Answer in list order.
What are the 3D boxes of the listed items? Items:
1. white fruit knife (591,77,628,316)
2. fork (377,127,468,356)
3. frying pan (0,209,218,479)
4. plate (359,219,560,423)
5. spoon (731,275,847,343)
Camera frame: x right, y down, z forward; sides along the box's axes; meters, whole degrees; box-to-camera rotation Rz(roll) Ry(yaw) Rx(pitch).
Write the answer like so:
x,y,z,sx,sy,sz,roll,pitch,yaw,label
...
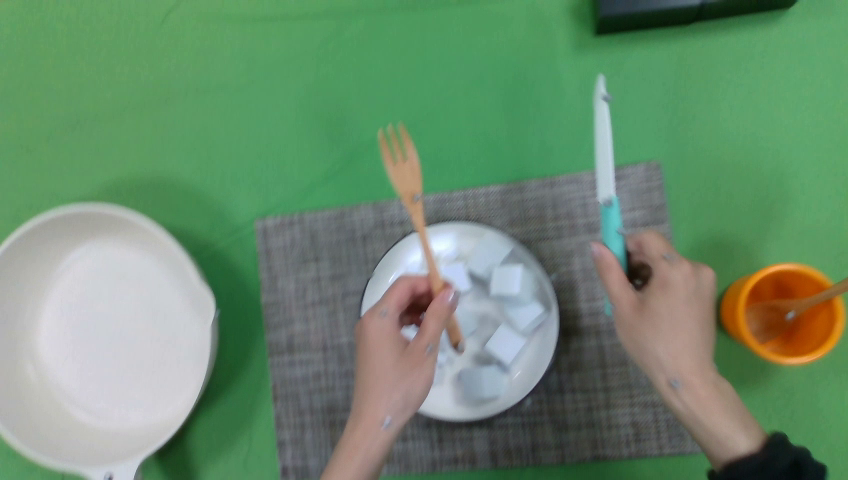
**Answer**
x,y,z,sx,sy,sz,roll,pitch,yaw,label
0.151,-0.029,0.500,0.016,0.027,0.208,-17,109,-19,white fruit knife
0.003,0.006,0.515,0.028,0.018,0.208,-15,100,19,fork
-0.337,0.210,0.653,0.306,0.103,0.485,-15,76,8,frying pan
0.036,0.083,0.635,0.207,0.039,0.207,-1,87,9,plate
0.358,0.044,0.536,0.041,0.194,0.021,49,50,6,spoon
